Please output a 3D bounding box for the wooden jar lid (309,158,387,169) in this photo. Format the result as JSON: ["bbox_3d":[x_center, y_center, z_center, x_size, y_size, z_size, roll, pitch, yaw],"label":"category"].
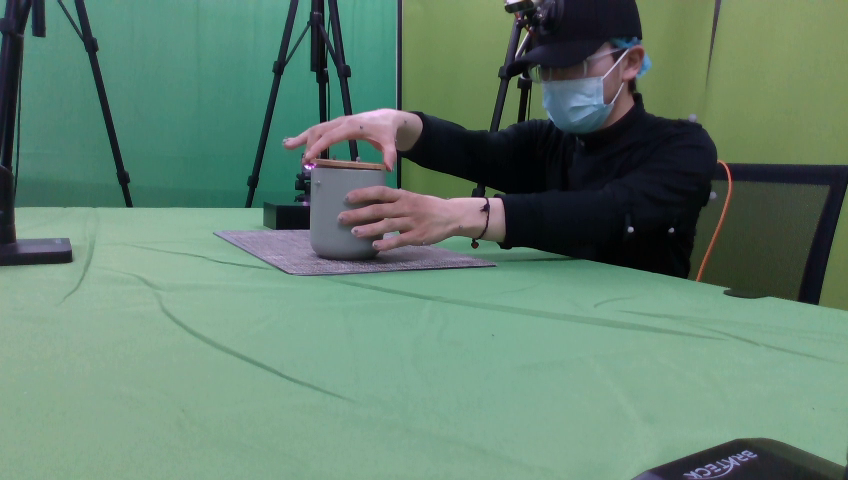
[{"bbox_3d":[-0.107,-0.103,0.851,0.108,0.020,0.108,4,7,0],"label":"wooden jar lid"}]

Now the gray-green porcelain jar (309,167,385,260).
[{"bbox_3d":[-0.109,-0.040,0.859,0.106,0.126,0.106,2,7,0],"label":"gray-green porcelain jar"}]
